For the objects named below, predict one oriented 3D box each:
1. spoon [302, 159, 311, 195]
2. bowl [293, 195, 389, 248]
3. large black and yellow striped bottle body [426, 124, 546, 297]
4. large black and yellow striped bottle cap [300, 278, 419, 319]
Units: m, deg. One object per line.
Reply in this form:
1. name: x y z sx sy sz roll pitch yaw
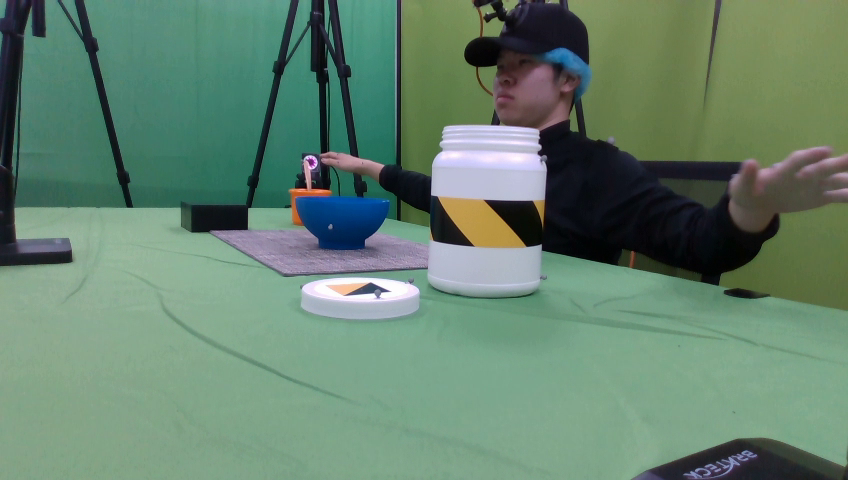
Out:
1. spoon: -0.257 -0.113 1.341 0.042 0.193 0.021 3 -38 -19
2. bowl: -0.132 -0.030 0.962 0.151 0.077 0.151 2 7 0
3. large black and yellow striped bottle body: 0.070 -0.037 0.689 0.131 0.184 0.130 2 7 0
4. large black and yellow striped bottle cap: -0.062 0.055 0.588 0.115 0.019 0.115 1 6 0
